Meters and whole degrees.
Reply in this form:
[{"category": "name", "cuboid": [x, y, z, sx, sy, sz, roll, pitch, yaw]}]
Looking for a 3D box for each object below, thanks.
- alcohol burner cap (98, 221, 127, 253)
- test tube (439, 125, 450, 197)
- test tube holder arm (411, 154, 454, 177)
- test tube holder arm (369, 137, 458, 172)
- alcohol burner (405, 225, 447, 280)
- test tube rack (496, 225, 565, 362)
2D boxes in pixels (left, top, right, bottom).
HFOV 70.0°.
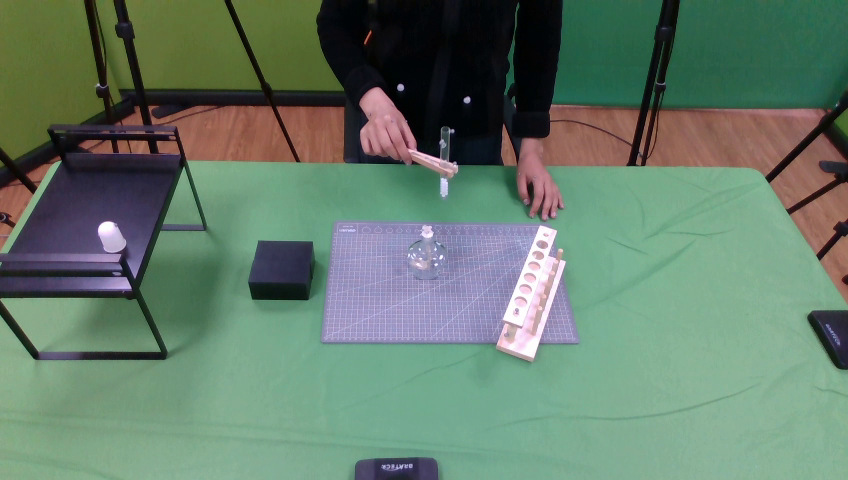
[{"category": "alcohol burner cap", "cuboid": [-0.468, -0.007, 0.905, 0.034, 0.048, 0.033, 3, 46, -3]}, {"category": "test tube", "cuboid": [0.035, -0.133, 1.044, 0.017, 0.151, 0.017, 0, 46, 0]}, {"category": "test tube holder arm", "cuboid": [0.014, -0.132, 1.057, 0.087, 0.015, 0.010, 28, 55, 26]}, {"category": "test tube holder arm", "cuboid": [-0.021, -0.153, 1.077, 0.178, 0.015, 0.013, 22, 52, 21]}, {"category": "alcohol burner", "cuboid": [0.005, 0.017, 1.115, 0.078, 0.120, 0.077, 1, 47, -1]}, {"category": "test tube rack", "cuboid": [0.200, 0.089, 1.081, 0.066, 0.085, 0.241, 19, 48, 13]}]
